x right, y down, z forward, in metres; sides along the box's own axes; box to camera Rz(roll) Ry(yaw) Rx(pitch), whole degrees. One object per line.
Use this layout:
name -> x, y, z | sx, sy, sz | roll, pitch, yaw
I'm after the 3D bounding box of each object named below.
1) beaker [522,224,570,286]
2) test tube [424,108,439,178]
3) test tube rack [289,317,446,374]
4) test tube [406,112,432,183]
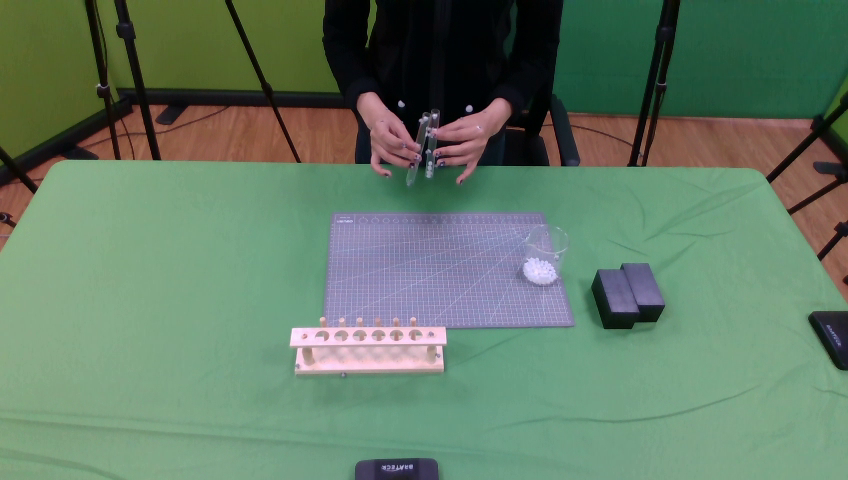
beaker -> 0.221, 0.032, 1.129 | 0.084, 0.101, 0.073 | -6, 46, -9
test tube -> 0.013, -0.174, 1.105 | 0.017, 0.151, 0.017 | 3, 45, -3
test tube rack -> -0.089, 0.167, 0.988 | 0.242, 0.085, 0.066 | 0, 46, -4
test tube -> -0.011, -0.160, 1.068 | 0.017, 0.151, 0.017 | 10, 43, -9
